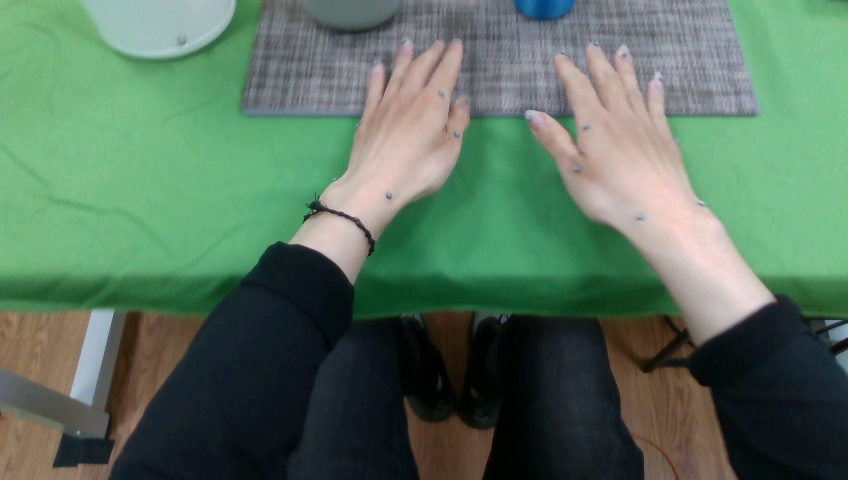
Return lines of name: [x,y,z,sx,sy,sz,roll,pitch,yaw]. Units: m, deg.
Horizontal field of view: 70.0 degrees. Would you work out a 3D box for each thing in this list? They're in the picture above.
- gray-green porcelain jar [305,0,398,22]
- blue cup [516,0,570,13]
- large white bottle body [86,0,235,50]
gray-green porcelain jar: [-0.068,-0.268,0.534,0.106,0.127,0.105,0,63,1]
blue cup: [0.113,-0.264,0.543,0.092,0.101,0.092,0,63,1]
large white bottle body: [-0.247,-0.270,0.507,0.130,0.186,0.129,0,63,1]
